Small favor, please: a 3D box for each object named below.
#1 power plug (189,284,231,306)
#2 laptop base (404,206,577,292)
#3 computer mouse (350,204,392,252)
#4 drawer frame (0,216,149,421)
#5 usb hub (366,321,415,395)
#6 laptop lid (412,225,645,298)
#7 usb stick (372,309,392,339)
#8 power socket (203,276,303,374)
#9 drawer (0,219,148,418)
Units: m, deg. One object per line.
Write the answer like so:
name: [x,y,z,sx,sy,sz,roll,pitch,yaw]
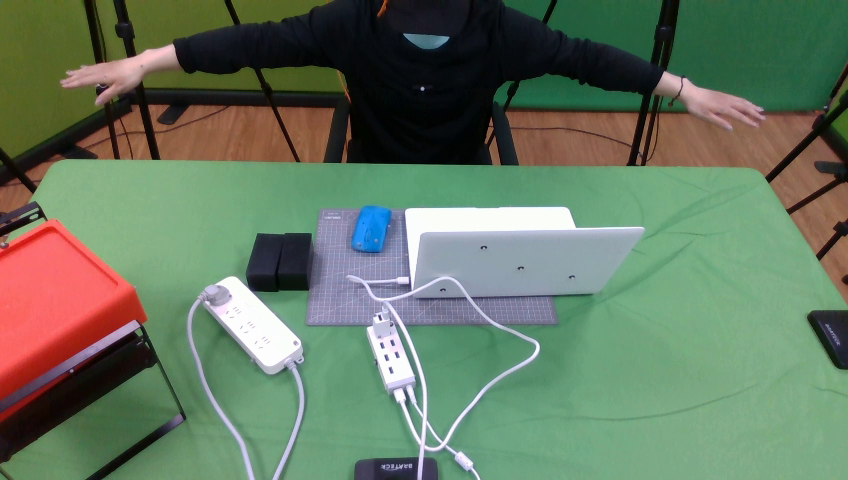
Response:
power plug: [-0.368,0.100,1.037,0.072,0.053,0.035,-23,54,-26]
laptop base: [0.143,0.018,1.196,0.355,0.023,0.234,-1,43,-6]
computer mouse: [-0.104,-0.027,1.202,0.063,0.041,0.116,11,51,4]
drawer frame: [-0.510,0.093,0.780,0.201,0.083,0.213,31,52,23]
usb hub: [-0.056,0.194,1.007,0.049,0.025,0.124,-13,49,-15]
laptop lid: [0.161,0.042,1.012,0.357,0.242,0.013,0,59,-7]
usb stick: [-0.070,0.145,1.008,0.027,0.059,0.021,-14,40,-25]
power socket: [-0.296,0.141,1.034,0.072,0.033,0.225,-35,58,-30]
drawer: [-0.509,0.093,0.783,0.193,0.073,0.211,32,53,24]
